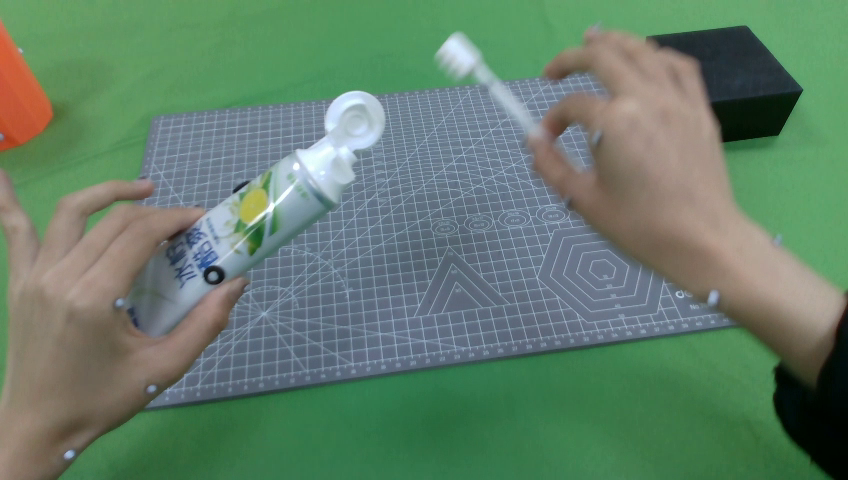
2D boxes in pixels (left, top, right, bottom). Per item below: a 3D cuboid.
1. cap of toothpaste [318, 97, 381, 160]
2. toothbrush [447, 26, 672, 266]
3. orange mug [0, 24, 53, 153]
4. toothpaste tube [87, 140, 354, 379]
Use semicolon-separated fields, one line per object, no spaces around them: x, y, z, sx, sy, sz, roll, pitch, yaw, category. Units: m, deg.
-0.039;-0.059;0.329;0.037;0.037;0.011;-23;32;-16;cap of toothpaste
0.078;-0.051;0.345;0.182;0.014;0.016;46;44;-4;toothbrush
-0.408;-0.129;0.527;0.083;0.102;0.126;26;52;21;orange mug
-0.106;0.002;0.317;0.165;0.035;0.054;-37;57;1;toothpaste tube
